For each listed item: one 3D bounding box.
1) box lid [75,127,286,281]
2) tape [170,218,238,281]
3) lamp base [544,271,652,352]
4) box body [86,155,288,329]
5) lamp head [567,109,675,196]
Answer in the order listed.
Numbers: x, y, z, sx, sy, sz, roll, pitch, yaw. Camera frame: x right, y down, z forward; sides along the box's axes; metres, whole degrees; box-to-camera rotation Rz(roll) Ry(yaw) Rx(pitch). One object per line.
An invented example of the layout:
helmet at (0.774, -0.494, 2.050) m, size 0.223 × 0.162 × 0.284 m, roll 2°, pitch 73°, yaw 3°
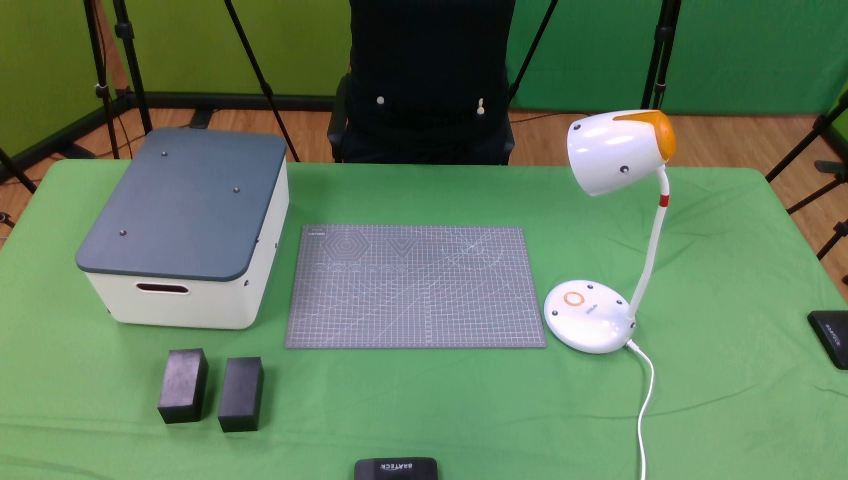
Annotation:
box lid at (-0.398, -0.075, 1.039) m, size 0.263 × 0.015 × 0.369 m, roll 4°, pitch 45°, yaw -1°
tape at (-0.406, 0.017, 1.121) m, size 0.117 × 0.053 × 0.116 m, roll 2°, pitch 46°, yaw -2°
lamp base at (0.309, 0.086, 1.029) m, size 0.178 × 0.181 × 0.160 m, roll 32°, pitch 52°, yaw 21°
box body at (-0.401, -0.025, 1.094) m, size 0.254 × 0.161 × 0.362 m, roll 3°, pitch 46°, yaw -1°
lamp head at (0.272, -0.123, 0.818) m, size 0.122 × 0.113 × 0.112 m, roll -9°, pitch 35°, yaw 37°
